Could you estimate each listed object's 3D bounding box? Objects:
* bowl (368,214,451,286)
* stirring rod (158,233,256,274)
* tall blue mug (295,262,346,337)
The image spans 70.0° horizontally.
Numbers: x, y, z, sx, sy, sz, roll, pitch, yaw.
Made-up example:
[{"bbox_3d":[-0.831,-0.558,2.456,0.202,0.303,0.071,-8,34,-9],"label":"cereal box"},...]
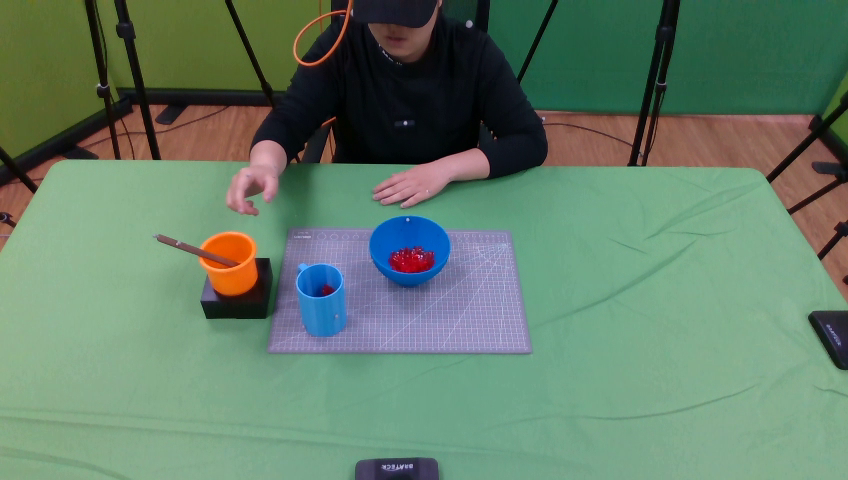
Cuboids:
[{"bbox_3d":[-0.028,0.031,1.122,0.151,0.077,0.150,2,46,-2],"label":"bowl"},{"bbox_3d":[-0.353,0.024,0.999,0.177,0.006,0.014,27,30,-40],"label":"stirring rod"},{"bbox_3d":[-0.187,0.096,1.027,0.107,0.108,0.077,21,49,16],"label":"tall blue mug"}]
